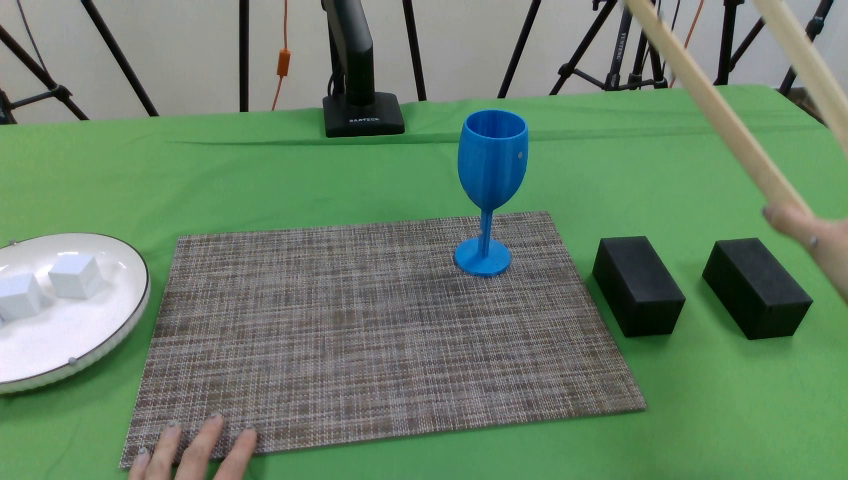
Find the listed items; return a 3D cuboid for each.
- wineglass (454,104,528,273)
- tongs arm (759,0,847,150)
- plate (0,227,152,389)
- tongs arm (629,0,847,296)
[{"bbox_3d":[0.068,-0.051,0.642,0.074,0.174,0.073,1,40,0],"label":"wineglass"},{"bbox_3d":[0.328,-0.114,0.494,0.028,0.028,0.384,2,58,-10],"label":"tongs arm"},{"bbox_3d":[-0.375,0.064,0.595,0.209,0.038,0.207,1,40,-1],"label":"plate"},{"bbox_3d":[0.253,-0.104,0.480,0.051,0.027,0.381,-10,60,-14],"label":"tongs arm"}]
